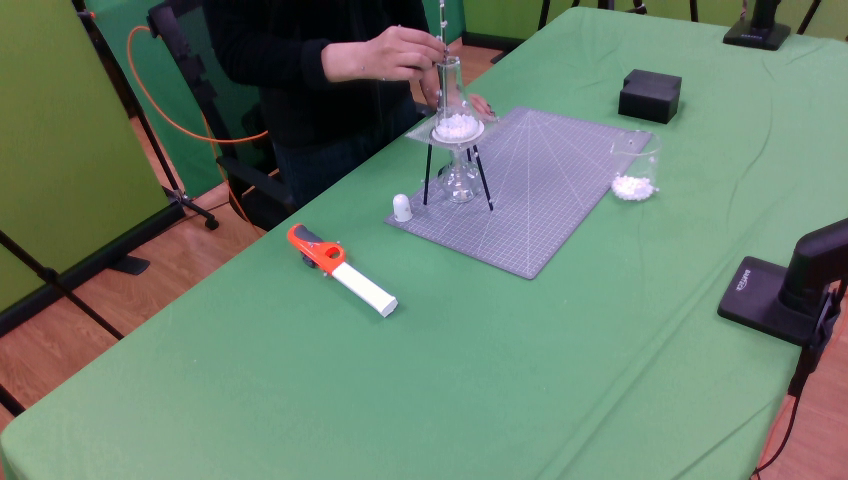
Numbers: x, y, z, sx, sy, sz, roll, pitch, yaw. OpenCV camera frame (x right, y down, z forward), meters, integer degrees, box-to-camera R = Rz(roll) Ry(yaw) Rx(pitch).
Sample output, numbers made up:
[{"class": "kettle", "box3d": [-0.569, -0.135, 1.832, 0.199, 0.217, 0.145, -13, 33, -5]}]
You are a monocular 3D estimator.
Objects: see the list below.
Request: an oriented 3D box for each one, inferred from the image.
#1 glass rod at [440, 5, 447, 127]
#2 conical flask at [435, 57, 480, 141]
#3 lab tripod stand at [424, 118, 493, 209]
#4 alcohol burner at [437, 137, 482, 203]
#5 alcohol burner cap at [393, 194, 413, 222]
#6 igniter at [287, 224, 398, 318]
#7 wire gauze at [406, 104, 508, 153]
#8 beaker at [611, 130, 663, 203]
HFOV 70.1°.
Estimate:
[{"class": "glass rod", "box3d": [0.031, -0.262, 0.932, 0.008, 0.200, 0.008, -2, 43, 2]}, {"class": "conical flask", "box3d": [0.046, -0.225, 0.955, 0.075, 0.122, 0.075, -7, 39, 6]}, {"class": "lab tripod stand", "box3d": [0.061, -0.133, 1.039, 0.148, 0.132, 0.147, -6, 38, 6]}, {"class": "alcohol burner", "box3d": [0.060, -0.125, 1.045, 0.078, 0.119, 0.077, -5, 38, 4]}, {"class": "alcohol burner cap", "box3d": [-0.039, -0.057, 1.038, 0.034, 0.048, 0.033, -6, 40, 5]}, {"class": "igniter", "box3d": [-0.139, 0.042, 0.958, 0.057, 0.025, 0.274, -42, 49, -19]}, {"class": "wire gauze", "box3d": [0.054, -0.183, 0.997, 0.120, 0.011, 0.125, 25, 53, 38]}, {"class": "beaker", "box3d": [0.346, -0.118, 0.998, 0.084, 0.101, 0.073, -17, 40, -7]}]
